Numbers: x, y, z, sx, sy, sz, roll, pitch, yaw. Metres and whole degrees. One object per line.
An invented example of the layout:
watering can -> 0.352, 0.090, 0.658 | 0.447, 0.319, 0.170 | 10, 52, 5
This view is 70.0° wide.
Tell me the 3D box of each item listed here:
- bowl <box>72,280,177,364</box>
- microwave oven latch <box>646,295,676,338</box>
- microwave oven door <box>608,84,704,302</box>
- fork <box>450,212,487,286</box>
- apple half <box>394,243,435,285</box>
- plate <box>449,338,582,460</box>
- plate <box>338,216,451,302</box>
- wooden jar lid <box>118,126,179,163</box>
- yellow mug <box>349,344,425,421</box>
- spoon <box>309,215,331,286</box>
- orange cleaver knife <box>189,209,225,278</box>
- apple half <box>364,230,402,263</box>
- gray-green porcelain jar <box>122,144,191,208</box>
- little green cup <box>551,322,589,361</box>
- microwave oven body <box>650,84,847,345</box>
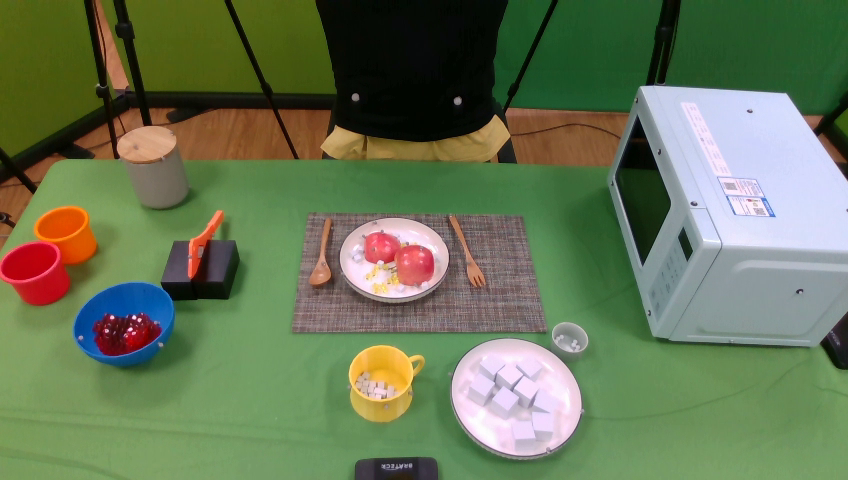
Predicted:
bowl -> -0.472, 0.147, 0.982 | 0.151, 0.077, 0.150 | 2, 46, -2
microwave oven latch -> 0.413, 0.133, 1.061 | 0.030, 0.029, 0.078 | 4, 46, 1
microwave oven door -> 0.424, -0.096, 1.138 | 0.039, 0.245, 0.353 | 3, 46, -1
fork -> 0.082, 0.014, 1.183 | 0.028, 0.019, 0.206 | -18, 50, -1
apple half -> -0.017, 0.037, 1.120 | 0.075, 0.053, 0.080 | 1, 46, -6
plate -> 0.141, 0.251, 0.955 | 0.208, 0.039, 0.206 | 2, 47, -2
plate -> -0.054, 0.038, 1.138 | 0.209, 0.038, 0.208 | 2, 46, -2
wooden jar lid -> -0.528, -0.181, 1.167 | 0.108, 0.021, 0.107 | 4, 47, -4
yellow mug -> -0.054, 0.217, 0.954 | 0.131, 0.064, 0.099 | -24, 53, -25
spoon -> -0.191, 0.016, 1.159 | 0.041, 0.022, 0.192 | -13, 46, 12
orange cleaver knife -> -0.400, 0.002, 1.122 | 0.012, 0.077, 0.210 | 4, 23, -4
apple half -> -0.079, 0.005, 1.159 | 0.081, 0.033, 0.081 | 3, 49, -3
gray-green porcelain jar -> -0.531, -0.137, 1.214 | 0.106, 0.127, 0.105 | 2, 47, -2
little green cup -> 0.247, 0.175, 1.033 | 0.061, 0.039, 0.061 | 2, 45, -2
microwave oven body -> 0.569, -0.054, 1.116 | 0.326, 0.261, 0.439 | 2, 46, -1
